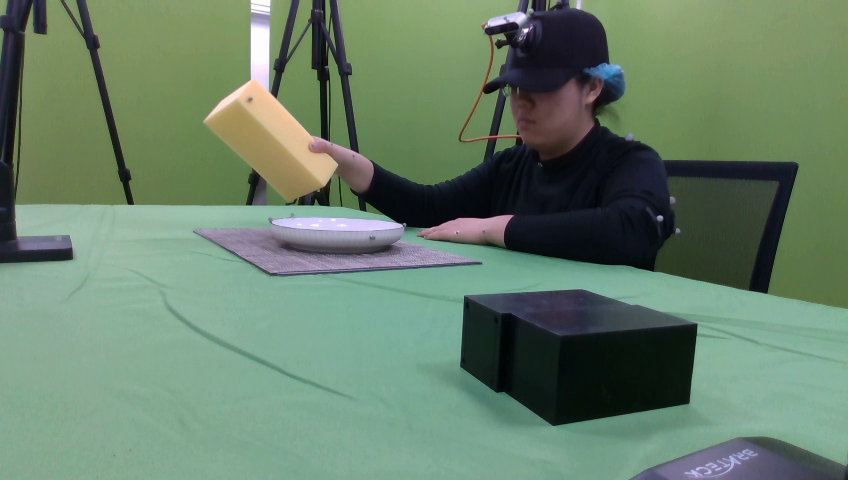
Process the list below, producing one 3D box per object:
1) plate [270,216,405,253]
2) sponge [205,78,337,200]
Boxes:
[{"bbox_3d":[-0.134,-0.009,0.946,0.208,0.039,0.207,3,7,0],"label":"plate"},{"bbox_3d":[-0.269,-0.172,1.072,0.117,0.061,0.207,-13,-49,41],"label":"sponge"}]
